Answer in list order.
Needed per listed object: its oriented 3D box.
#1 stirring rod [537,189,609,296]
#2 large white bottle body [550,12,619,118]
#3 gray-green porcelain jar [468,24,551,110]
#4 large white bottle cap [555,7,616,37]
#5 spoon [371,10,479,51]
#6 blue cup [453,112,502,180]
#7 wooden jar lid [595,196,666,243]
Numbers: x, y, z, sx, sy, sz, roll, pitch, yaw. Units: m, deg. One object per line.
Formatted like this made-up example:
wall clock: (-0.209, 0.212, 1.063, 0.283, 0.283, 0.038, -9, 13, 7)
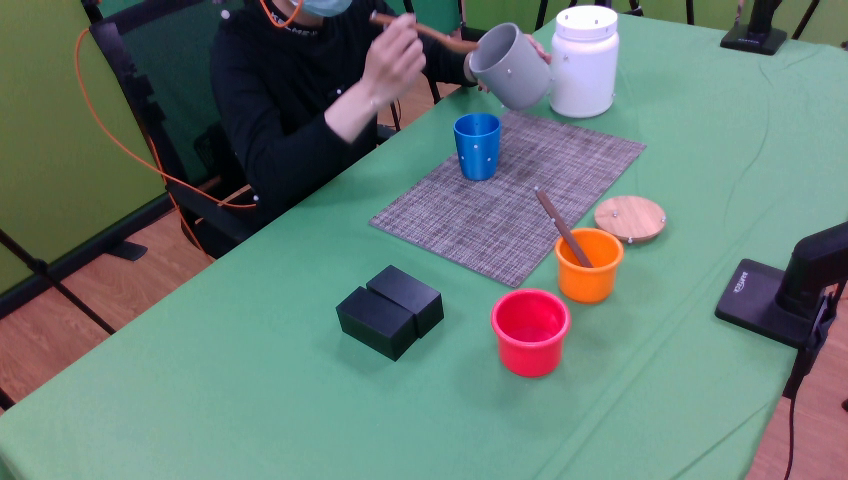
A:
stirring rod: (0.210, 0.003, 0.855, 0.014, 0.006, 0.176, -32, 89, -30)
large white bottle body: (0.320, -0.356, 1.218, 0.130, 0.185, 0.130, -4, 41, 4)
gray-green porcelain jar: (0.159, -0.305, 1.090, 0.105, 0.127, 0.105, -27, 46, 32)
large white bottle cap: (0.311, -0.420, 1.163, 0.115, 0.018, 0.114, -4, 40, 4)
spoon: (0.005, -0.334, 0.963, 0.195, 0.021, 0.041, 11, -3, -29)
blue cup: (0.097, -0.165, 1.088, 0.092, 0.100, 0.092, -3, 40, 3)
wooden jar lid: (0.329, -0.032, 0.967, 0.108, 0.021, 0.108, -4, 41, 4)
